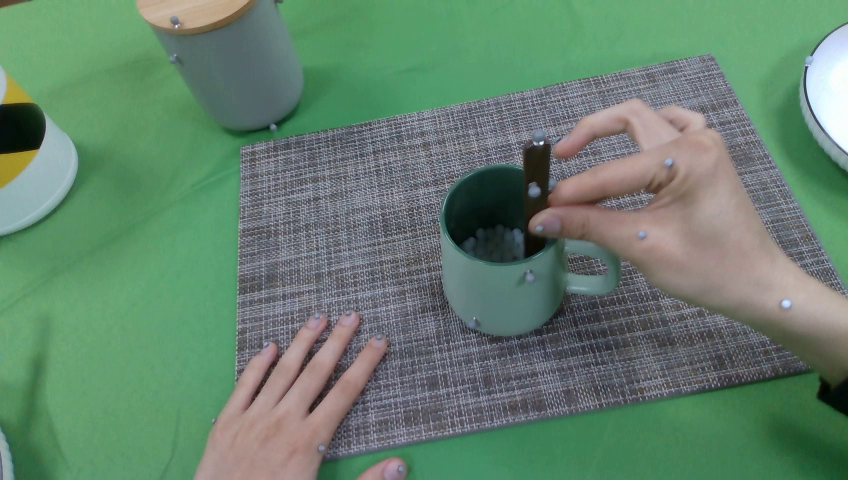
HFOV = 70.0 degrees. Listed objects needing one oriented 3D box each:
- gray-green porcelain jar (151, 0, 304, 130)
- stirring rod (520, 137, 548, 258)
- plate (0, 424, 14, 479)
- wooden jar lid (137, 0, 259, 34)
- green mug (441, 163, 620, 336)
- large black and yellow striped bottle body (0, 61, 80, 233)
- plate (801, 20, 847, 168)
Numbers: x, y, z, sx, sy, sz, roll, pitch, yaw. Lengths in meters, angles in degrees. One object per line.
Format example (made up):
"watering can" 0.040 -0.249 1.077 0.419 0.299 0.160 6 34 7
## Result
"gray-green porcelain jar" -0.173 -0.173 0.555 0.106 0.127 0.105 -3 59 6
"stirring rod" 0.066 -0.004 0.368 0.014 0.178 0.005 -16 58 0
"plate" -0.376 0.202 0.411 0.209 0.038 0.207 -3 59 6
"wooden jar lid" -0.181 -0.206 0.502 0.108 0.021 0.107 -3 62 6
"green mug" 0.071 0.012 0.420 0.125 0.106 0.092 9 60 12
"large black and yellow striped bottle body" -0.405 -0.103 0.509 0.130 0.186 0.129 -3 59 6
"plate" 0.413 -0.105 0.485 0.207 0.039 0.205 -4 59 6
